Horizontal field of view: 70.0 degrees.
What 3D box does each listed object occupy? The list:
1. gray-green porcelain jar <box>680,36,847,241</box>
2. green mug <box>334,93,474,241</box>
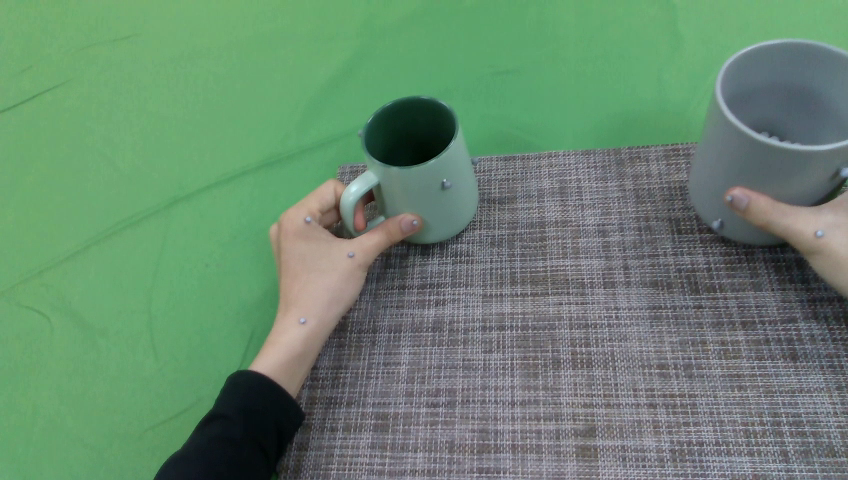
[{"bbox_3d":[0.255,-0.068,0.455,0.106,0.128,0.105,-5,57,8],"label":"gray-green porcelain jar"},{"bbox_3d":[-0.020,-0.049,0.511,0.125,0.106,0.091,-38,59,-14],"label":"green mug"}]
